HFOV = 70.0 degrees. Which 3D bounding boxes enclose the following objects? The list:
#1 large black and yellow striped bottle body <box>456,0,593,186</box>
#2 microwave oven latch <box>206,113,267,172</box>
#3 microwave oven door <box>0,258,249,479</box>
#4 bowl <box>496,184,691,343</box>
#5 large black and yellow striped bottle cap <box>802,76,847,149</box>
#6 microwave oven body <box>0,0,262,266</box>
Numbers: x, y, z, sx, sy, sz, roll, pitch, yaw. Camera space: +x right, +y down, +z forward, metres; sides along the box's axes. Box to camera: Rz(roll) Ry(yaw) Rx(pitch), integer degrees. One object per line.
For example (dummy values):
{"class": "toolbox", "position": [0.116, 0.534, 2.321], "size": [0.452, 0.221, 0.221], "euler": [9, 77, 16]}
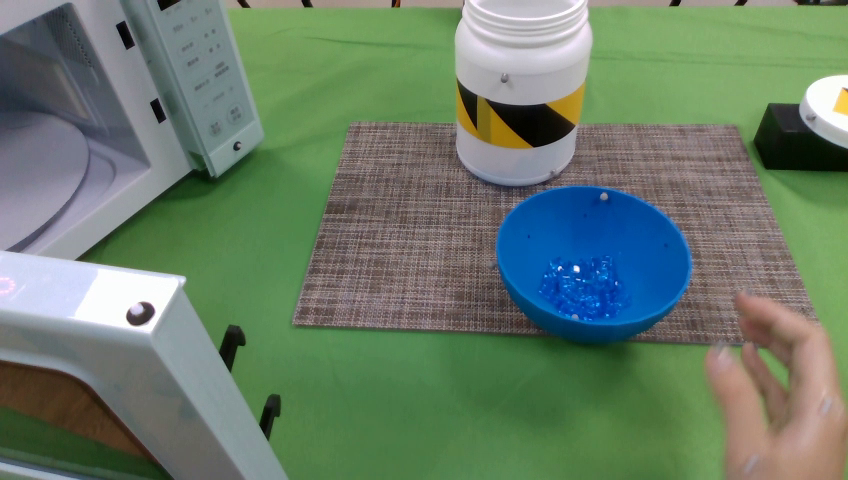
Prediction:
{"class": "large black and yellow striped bottle body", "position": [0.098, -0.162, 0.613], "size": [0.131, 0.186, 0.129], "euler": [-2, 47, 2]}
{"class": "microwave oven latch", "position": [-0.208, -0.111, 0.666], "size": [0.030, 0.030, 0.079], "euler": [26, 54, 24]}
{"class": "microwave oven door", "position": [-0.261, 0.084, 0.348], "size": [0.355, 0.246, 0.039], "euler": [7, 48, 10]}
{"class": "bowl", "position": [0.134, 0.032, 0.503], "size": [0.151, 0.077, 0.150], "euler": [-2, 47, 3]}
{"class": "large black and yellow striped bottle cap", "position": [0.447, -0.128, 0.611], "size": [0.115, 0.019, 0.114], "euler": [-3, 46, 3]}
{"class": "microwave oven body", "position": [-0.433, -0.118, 0.555], "size": [0.324, 0.262, 0.440], "euler": [24, 54, 23]}
